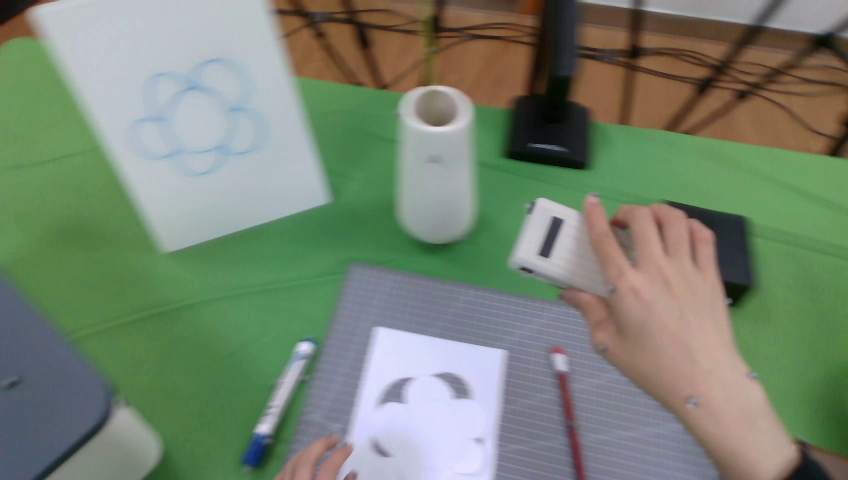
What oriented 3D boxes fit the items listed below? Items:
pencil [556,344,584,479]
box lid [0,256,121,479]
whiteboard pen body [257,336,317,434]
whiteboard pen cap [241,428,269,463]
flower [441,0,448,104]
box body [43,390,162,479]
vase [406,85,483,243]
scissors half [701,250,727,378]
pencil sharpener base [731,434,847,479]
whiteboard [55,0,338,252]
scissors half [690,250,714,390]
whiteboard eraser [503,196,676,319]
[{"bbox_3d":[0.156,0.201,0.633,0.012,0.012,0.192,0,58,-1],"label":"pencil"},{"bbox_3d":[-0.460,0.109,0.499,0.369,0.015,0.263,35,62,20],"label":"box lid"},{"bbox_3d":[-0.150,0.163,0.647,0.017,0.017,0.140,17,56,11],"label":"whiteboard pen body"},{"bbox_3d":[-0.169,0.208,0.614,0.018,0.018,0.033,17,52,11],"label":"whiteboard pen cap"},{"bbox_3d":[0.022,-0.143,0.648,0.044,0.365,0.038,4,39,6],"label":"flower"},{"bbox_3d":[-0.460,0.152,0.560,0.361,0.162,0.253,35,63,20],"label":"box body"},{"bbox_3d":[0.025,-0.084,0.709,0.098,0.202,0.097,0,55,0],"label":"vase"},{"bbox_3d":[0.319,0.075,0.669,0.013,0.040,0.174,18,48,5],"label":"scissors half"},{"bbox_3d":[0.345,0.232,0.559,0.076,0.108,0.061,16,57,5],"label":"pencil sharpener base"},{"bbox_3d":[-0.254,-0.175,0.735,0.217,0.308,0.142,-18,39,-12],"label":"whiteboard"},{"bbox_3d":[0.319,0.086,0.686,0.013,0.040,0.174,15,66,10],"label":"scissors half"},{"bbox_3d":[0.119,0.013,0.441,0.112,0.042,0.055,22,86,2],"label":"whiteboard eraser"}]
